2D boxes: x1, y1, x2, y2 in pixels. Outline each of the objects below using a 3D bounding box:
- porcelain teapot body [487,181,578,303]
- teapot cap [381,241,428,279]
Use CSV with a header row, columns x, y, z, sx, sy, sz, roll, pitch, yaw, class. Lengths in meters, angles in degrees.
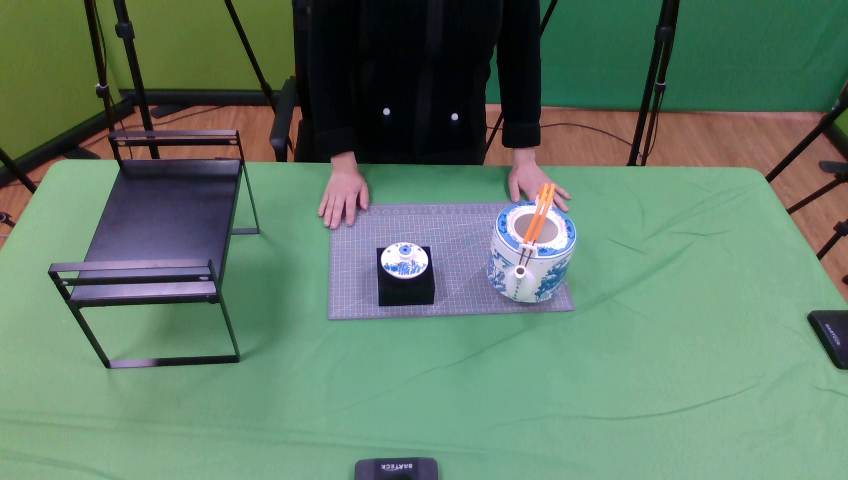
x,y,z,sx,sy,sz,roll,pitch,yaw,class
0.185,0.018,1.048,0.145,0.226,0.204,15,48,10,porcelain teapot body
-0.034,0.031,1.076,0.085,0.044,0.084,2,49,-3,teapot cap
